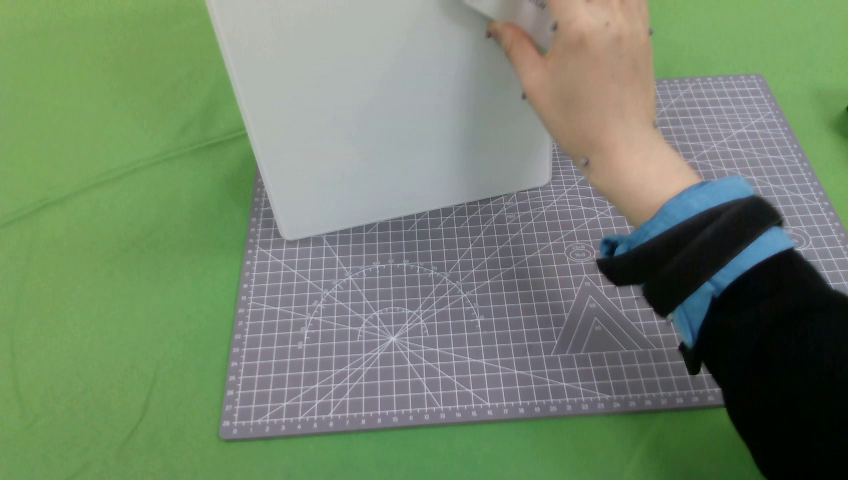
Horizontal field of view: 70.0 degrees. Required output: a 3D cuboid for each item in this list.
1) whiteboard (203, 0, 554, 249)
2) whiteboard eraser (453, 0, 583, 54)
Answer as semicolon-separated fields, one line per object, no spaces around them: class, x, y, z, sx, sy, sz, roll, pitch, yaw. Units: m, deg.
whiteboard;-0.033;-0.177;0.431;0.217;0.308;0.142;-12;37;-6
whiteboard eraser;0.059;-0.152;0.385;0.102;0.041;0.018;17;27;-30
